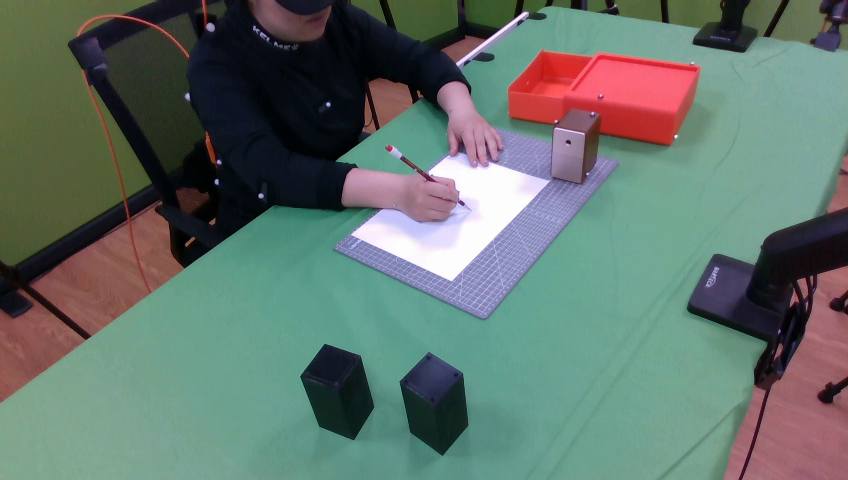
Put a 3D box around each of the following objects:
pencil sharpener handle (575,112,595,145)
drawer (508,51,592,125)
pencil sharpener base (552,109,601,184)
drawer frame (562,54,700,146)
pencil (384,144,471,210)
[{"bbox_3d":[0.290,-0.203,1.077,0.036,0.068,0.031,19,47,26],"label":"pencil sharpener handle"},{"bbox_3d":[0.305,-0.309,1.246,0.210,0.073,0.195,16,45,25],"label":"drawer"},{"bbox_3d":[0.265,-0.163,1.053,0.061,0.107,0.077,17,46,27],"label":"pencil sharpener base"},{"bbox_3d":[0.407,-0.282,1.195,0.212,0.083,0.202,17,45,25],"label":"drawer frame"},{"bbox_3d":[0.010,-0.097,0.976,0.012,0.196,0.012,-34,38,32],"label":"pencil"}]
